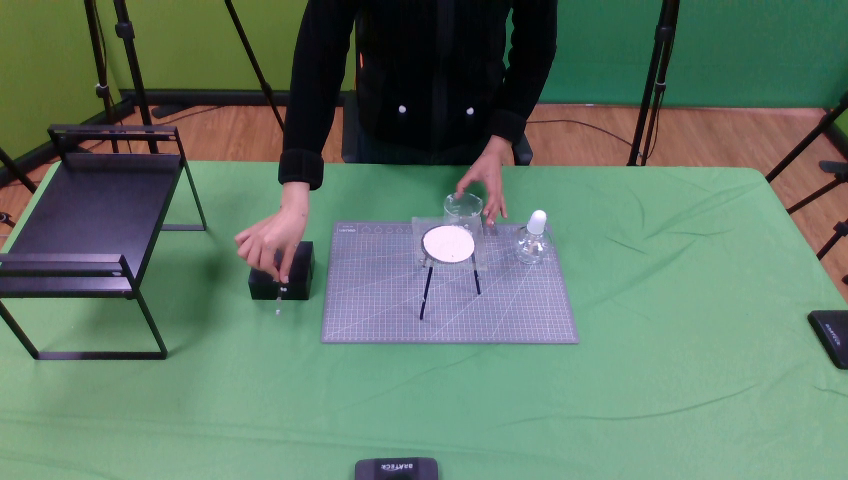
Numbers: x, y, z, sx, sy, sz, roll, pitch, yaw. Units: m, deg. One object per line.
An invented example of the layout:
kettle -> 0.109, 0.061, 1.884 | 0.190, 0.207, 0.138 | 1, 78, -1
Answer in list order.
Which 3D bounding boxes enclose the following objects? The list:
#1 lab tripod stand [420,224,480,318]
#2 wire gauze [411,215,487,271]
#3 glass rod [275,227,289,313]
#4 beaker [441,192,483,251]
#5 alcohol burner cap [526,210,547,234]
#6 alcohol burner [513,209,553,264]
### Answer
lab tripod stand -> 0.034, 0.052, 1.070 | 0.148, 0.132, 0.147 | 3, 48, -3
wire gauze -> 0.041, 0.002, 1.025 | 0.125, 0.011, 0.120 | 1, 46, -3
glass rod -> -0.250, 0.049, 1.075 | 0.008, 0.008, 0.198 | -1, 46, -5
beaker -> 0.073, -0.035, 1.180 | 0.084, 0.101, 0.073 | -20, 51, -21
alcohol burner cap -> 0.213, -0.037, 1.133 | 0.034, 0.048, 0.033 | 4, 51, -5
alcohol burner -> 0.210, -0.012, 1.158 | 0.078, 0.120, 0.077 | 1, 44, -1
